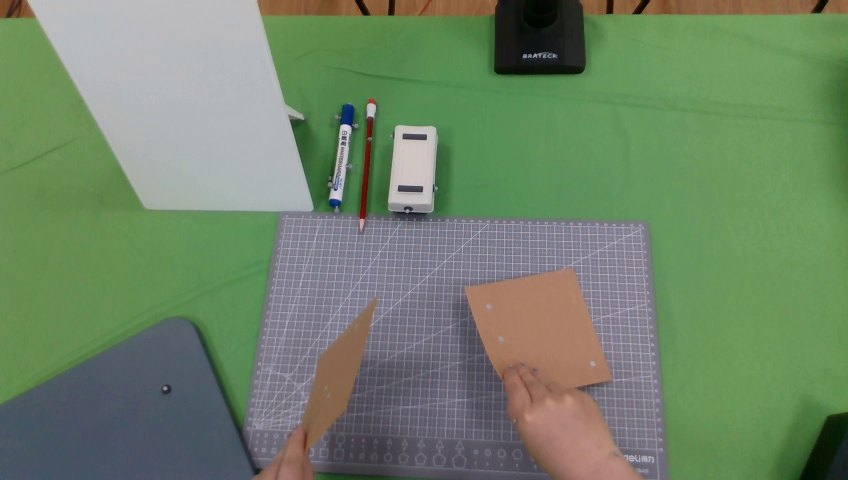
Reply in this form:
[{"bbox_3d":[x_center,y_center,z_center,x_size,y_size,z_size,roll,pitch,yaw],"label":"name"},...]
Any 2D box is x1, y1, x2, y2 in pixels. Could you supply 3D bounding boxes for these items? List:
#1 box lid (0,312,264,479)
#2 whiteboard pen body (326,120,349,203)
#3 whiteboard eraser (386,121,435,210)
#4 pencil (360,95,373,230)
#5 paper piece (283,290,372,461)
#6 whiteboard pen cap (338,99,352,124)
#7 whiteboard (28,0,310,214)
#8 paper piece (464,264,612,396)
[{"bbox_3d":[-0.304,0.279,0.636,0.263,0.015,0.368,-28,70,-7],"label":"box lid"},{"bbox_3d":[-0.109,-0.112,0.773,0.017,0.017,0.140,3,69,5],"label":"whiteboard pen body"},{"bbox_3d":[-0.016,-0.092,0.747,0.055,0.042,0.112,1,69,5],"label":"whiteboard eraser"},{"bbox_3d":[-0.074,-0.102,0.771,0.012,0.012,0.192,-1,69,4],"label":"pencil"},{"bbox_3d":[-0.095,0.131,0.594,0.004,0.135,0.134,29,42,-18],"label":"paper piece"},{"bbox_3d":[-0.103,-0.166,0.793,0.018,0.018,0.033,1,69,4],"label":"whiteboard pen cap"},{"bbox_3d":[-0.249,-0.188,0.689,0.217,0.308,0.142,2,49,5],"label":"whiteboard"},{"bbox_3d":[0.124,0.095,0.665,0.136,0.009,0.137,-7,61,-16],"label":"paper piece"}]
